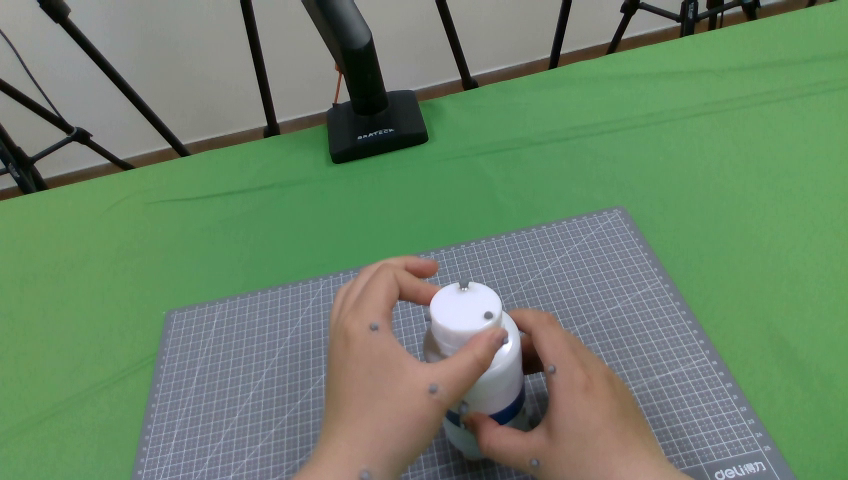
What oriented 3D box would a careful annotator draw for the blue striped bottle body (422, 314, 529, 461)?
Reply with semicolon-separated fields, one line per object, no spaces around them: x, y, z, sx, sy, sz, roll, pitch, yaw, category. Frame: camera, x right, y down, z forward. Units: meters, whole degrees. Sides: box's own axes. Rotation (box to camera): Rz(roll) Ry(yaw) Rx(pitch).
0.035;0.090;0.402;0.063;0.122;0.062;-7;42;7;blue striped bottle body

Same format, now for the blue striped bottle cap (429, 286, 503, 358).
0.025;0.048;0.364;0.044;0.021;0.044;-3;36;2;blue striped bottle cap
